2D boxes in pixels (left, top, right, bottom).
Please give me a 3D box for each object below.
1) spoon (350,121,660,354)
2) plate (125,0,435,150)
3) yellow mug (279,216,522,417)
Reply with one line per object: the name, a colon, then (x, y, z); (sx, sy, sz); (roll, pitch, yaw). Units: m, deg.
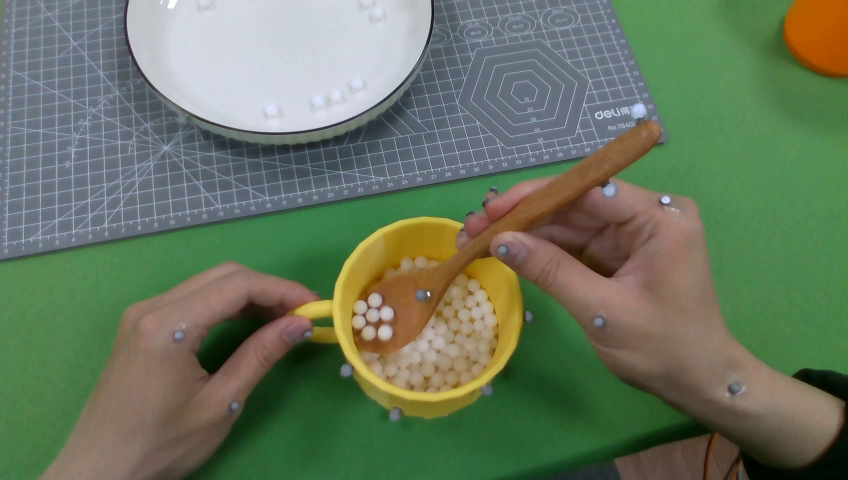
spoon: (0.026, 0.006, 0.287); (0.022, 0.194, 0.041); (7, 56, -42)
plate: (-0.096, -0.149, 0.427); (0.208, 0.039, 0.206); (1, 67, -3)
yellow mug: (-0.015, 0.045, 0.339); (0.131, 0.064, 0.099); (-3, 67, -3)
